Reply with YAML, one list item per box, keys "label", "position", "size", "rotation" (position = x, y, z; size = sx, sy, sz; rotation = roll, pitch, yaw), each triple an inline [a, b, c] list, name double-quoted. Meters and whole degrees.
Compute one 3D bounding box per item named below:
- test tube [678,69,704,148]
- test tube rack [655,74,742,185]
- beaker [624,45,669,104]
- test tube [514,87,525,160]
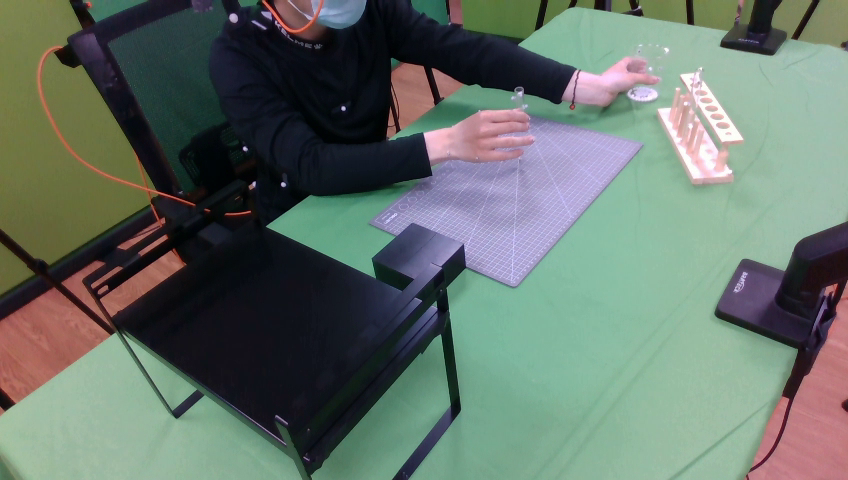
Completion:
- label: "test tube"
  position: [0.465, -0.228, 1.054]
  size: [0.017, 0.151, 0.017]
  rotation: [-4, 41, 4]
- label: "test tube rack"
  position: [0.488, -0.205, 1.093]
  size: [0.067, 0.085, 0.241]
  rotation: [-3, 41, 5]
- label: "beaker"
  position: [0.455, -0.340, 1.244]
  size: [0.084, 0.100, 0.073]
  rotation: [-9, 40, -5]
- label: "test tube"
  position: [0.167, -0.200, 1.051]
  size: [0.017, 0.151, 0.017]
  rotation: [-5, 47, 6]
